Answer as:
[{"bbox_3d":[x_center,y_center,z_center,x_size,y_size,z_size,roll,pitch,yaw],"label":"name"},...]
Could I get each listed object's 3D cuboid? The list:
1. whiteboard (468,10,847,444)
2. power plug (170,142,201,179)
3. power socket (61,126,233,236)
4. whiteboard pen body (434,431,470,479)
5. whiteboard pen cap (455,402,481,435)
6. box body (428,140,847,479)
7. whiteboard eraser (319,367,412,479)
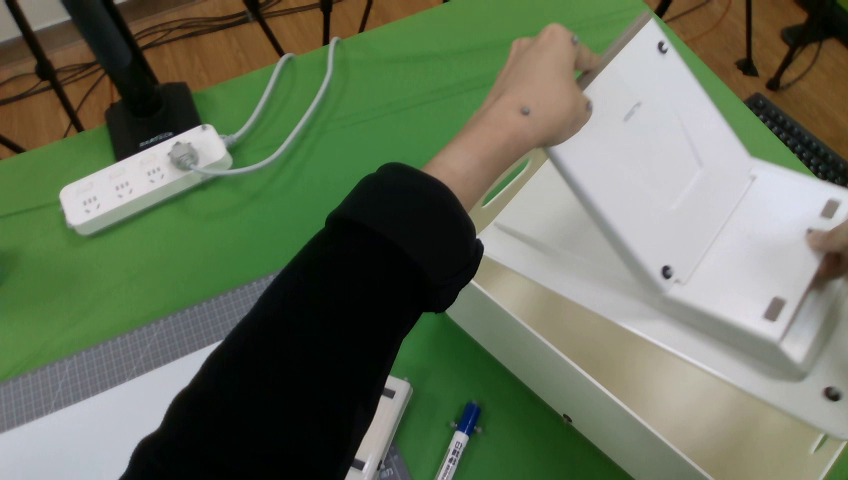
[{"bbox_3d":[0.210,-0.044,0.449,0.303,0.145,0.217,29,62,30],"label":"whiteboard"},{"bbox_3d":[-0.298,-0.091,0.763,0.035,0.053,0.072,-18,66,-8],"label":"power plug"},{"bbox_3d":[-0.356,-0.078,0.785,0.227,0.033,0.071,-27,63,-13],"label":"power socket"},{"bbox_3d":[0.020,0.230,0.592,0.017,0.017,0.140,21,63,16],"label":"whiteboard pen body"},{"bbox_3d":[0.045,0.183,0.618,0.018,0.018,0.033,20,64,15],"label":"whiteboard pen cap"},{"bbox_3d":[0.214,0.062,0.594,0.361,0.162,0.254,39,69,23],"label":"box body"},{"bbox_3d":[-0.057,0.188,0.603,0.055,0.042,0.112,17,62,14],"label":"whiteboard eraser"}]
